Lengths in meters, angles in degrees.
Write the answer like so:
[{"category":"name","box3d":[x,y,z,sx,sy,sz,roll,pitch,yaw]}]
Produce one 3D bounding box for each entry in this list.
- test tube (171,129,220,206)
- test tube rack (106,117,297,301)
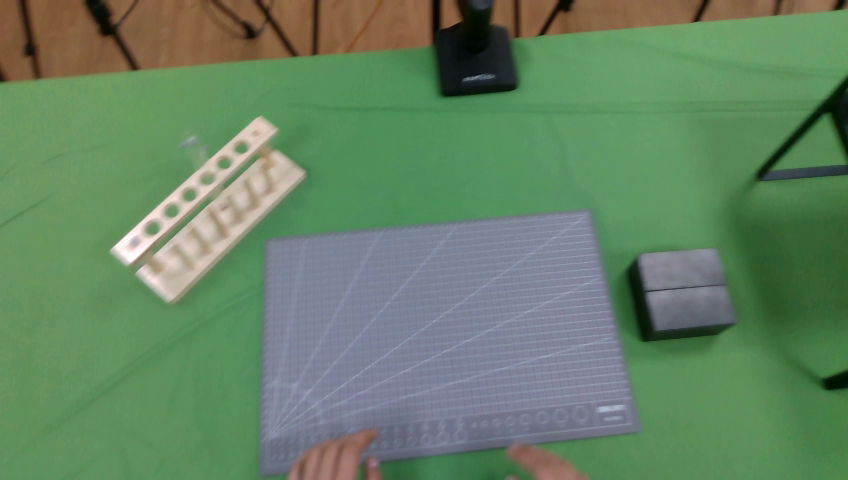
[{"category":"test tube","box3d":[-0.281,-0.086,0.755,0.017,0.151,0.017,0,62,-1]},{"category":"test tube rack","box3d":[-0.279,-0.042,0.789,0.066,0.086,0.242,36,70,15]}]
